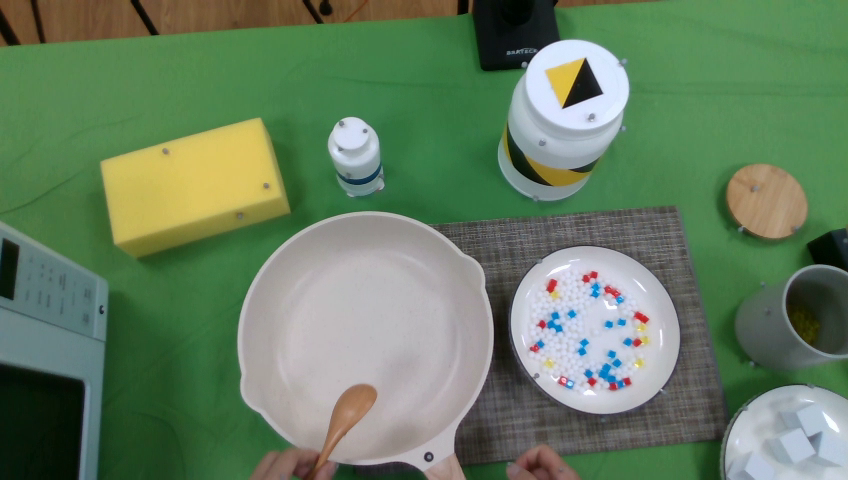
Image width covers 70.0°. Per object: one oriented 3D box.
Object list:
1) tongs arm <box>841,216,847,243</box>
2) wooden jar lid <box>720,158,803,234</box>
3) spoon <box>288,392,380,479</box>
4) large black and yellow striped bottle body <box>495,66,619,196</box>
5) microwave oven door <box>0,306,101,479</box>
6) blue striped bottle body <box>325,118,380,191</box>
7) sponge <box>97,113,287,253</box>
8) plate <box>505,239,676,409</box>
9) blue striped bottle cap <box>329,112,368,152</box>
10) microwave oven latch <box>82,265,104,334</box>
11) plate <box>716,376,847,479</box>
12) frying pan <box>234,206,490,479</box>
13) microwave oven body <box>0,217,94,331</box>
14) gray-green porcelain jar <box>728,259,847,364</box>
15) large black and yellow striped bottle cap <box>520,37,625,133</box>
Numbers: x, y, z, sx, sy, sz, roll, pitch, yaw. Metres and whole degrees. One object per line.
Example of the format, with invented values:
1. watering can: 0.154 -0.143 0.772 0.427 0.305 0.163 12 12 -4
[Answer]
1. tongs arm: 0.572 0.154 0.717 0.051 0.026 0.383 -10 83 -7
2. wooden jar lid: 0.453 -0.058 0.818 0.108 0.021 0.108 0 74 -1
3. spoon: -0.112 0.228 0.611 0.193 0.041 0.021 -40 89 -15
4. large black and yellow striped bottle body: 0.163 -0.147 0.753 0.131 0.185 0.130 0 72 -1
5. microwave oven door: -0.385 0.249 0.564 0.039 0.245 0.353 -5 72 -3
6. blue striped bottle body: -0.090 -0.113 0.768 0.063 0.121 0.062 1 72 -1
7. sponge: -0.295 -0.073 0.781 0.207 0.061 0.117 -18 74 -8
8. plate: 0.202 0.102 0.748 0.209 0.038 0.208 0 73 -1
9. blue striped bottle cap: -0.090 -0.128 0.718 0.044 0.021 0.044 0 70 1
10. microwave oven latch: -0.403 0.072 0.725 0.030 0.029 0.078 -3 73 -3
11. plate: 0.442 0.265 0.708 0.208 0.039 0.206 0 72 -1
12. frying pan: -0.020 0.187 0.681 0.307 0.103 0.483 -28 67 -8
13. microwave oven body: -0.534 0.221 0.574 0.326 0.261 0.439 -4 73 -3
14. gray-green porcelain jar: 0.434 0.089 0.716 0.106 0.127 0.105 1 72 -1
15. large black and yellow striped bottle cap: 0.164 -0.173 0.671 0.115 0.019 0.114 0 71 -1
